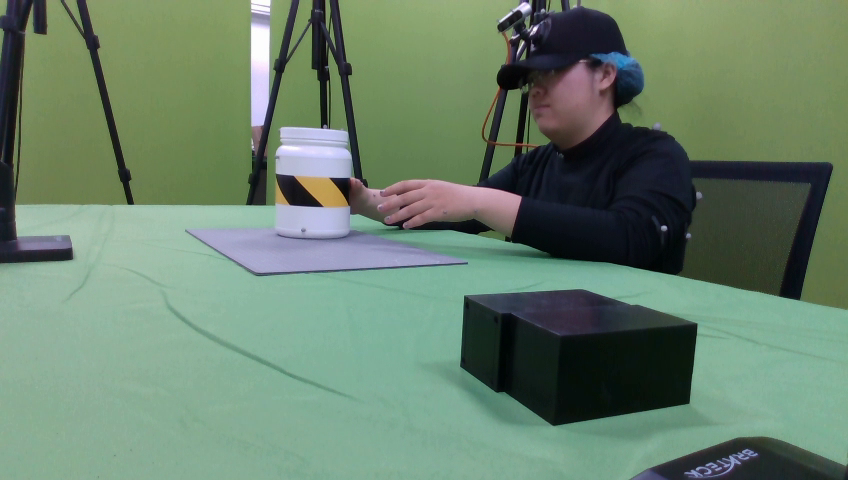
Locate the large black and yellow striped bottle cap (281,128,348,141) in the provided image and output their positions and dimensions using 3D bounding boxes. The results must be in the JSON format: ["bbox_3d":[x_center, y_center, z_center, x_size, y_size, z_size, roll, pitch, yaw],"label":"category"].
[{"bbox_3d":[-0.189,-0.182,1.047,0.115,0.019,0.115,2,7,0],"label":"large black and yellow striped bottle cap"}]

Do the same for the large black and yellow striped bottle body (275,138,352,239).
[{"bbox_3d":[-0.193,-0.100,1.060,0.131,0.184,0.130,3,8,0],"label":"large black and yellow striped bottle body"}]
